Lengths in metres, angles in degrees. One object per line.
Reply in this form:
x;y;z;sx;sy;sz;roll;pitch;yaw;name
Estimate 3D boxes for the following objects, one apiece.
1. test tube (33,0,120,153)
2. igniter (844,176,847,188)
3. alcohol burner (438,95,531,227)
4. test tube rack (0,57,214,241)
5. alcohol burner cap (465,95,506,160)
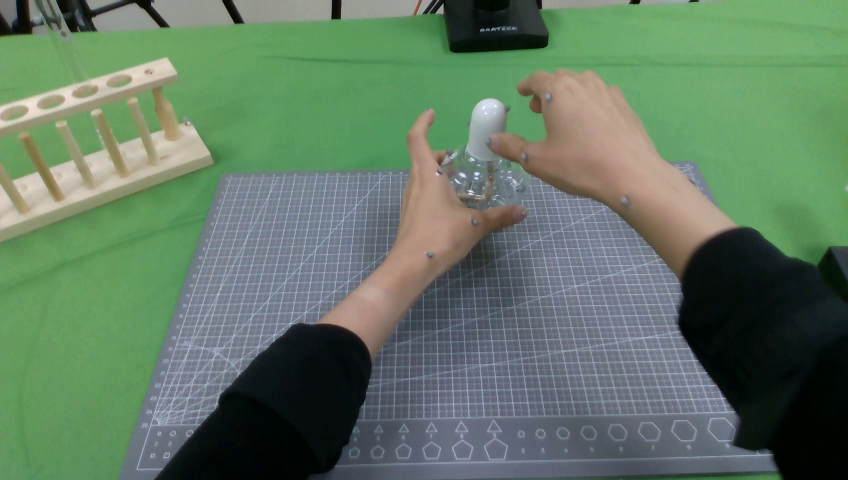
-0.300;-0.143;0.526;0.017;0.151;0.017;-4;38;3;test tube
0.338;0.045;0.381;0.057;0.025;0.274;0;45;6;igniter
0.050;-0.068;0.496;0.078;0.120;0.077;0;47;1;alcohol burner
-0.325;-0.076;0.537;0.242;0.086;0.066;-25;51;-21;test tube rack
0.049;-0.090;0.474;0.034;0.048;0.033;-1;44;1;alcohol burner cap
